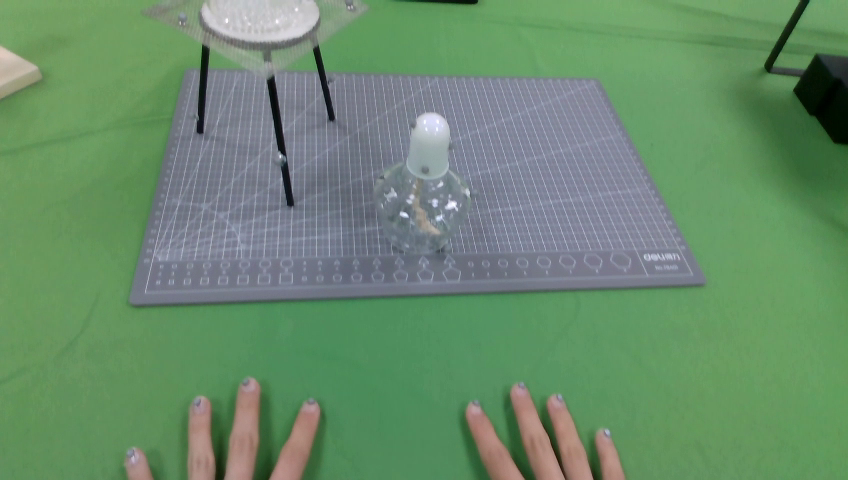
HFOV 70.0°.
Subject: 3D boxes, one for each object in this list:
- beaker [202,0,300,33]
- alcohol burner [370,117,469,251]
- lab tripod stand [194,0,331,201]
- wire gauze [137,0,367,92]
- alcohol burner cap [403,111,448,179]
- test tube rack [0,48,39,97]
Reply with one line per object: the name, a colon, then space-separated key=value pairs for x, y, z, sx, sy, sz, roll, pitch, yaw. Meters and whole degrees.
beaker: x=-0.125 y=-0.203 z=0.418 sx=0.073 sy=0.101 sz=0.084 roll=29 pitch=52 yaw=17
alcohol burner: x=-0.001 y=-0.048 z=0.466 sx=0.078 sy=0.120 sz=0.077 roll=5 pitch=47 yaw=-5
lab tripod stand: x=-0.130 y=-0.127 z=0.504 sx=0.148 sy=0.132 sz=0.147 roll=6 pitch=48 yaw=-6
wire gauze: x=-0.125 y=-0.170 z=0.455 sx=0.124 sy=0.011 sz=0.121 roll=31 pitch=54 yaw=13
alcohol burner cap: x=0.002 y=-0.071 z=0.438 sx=0.034 sy=0.048 sz=0.033 roll=3 pitch=53 yaw=-3
test tube rack: x=-0.460 y=-0.129 z=0.493 sx=0.066 sy=0.086 sz=0.241 roll=28 pitch=51 yaw=16
